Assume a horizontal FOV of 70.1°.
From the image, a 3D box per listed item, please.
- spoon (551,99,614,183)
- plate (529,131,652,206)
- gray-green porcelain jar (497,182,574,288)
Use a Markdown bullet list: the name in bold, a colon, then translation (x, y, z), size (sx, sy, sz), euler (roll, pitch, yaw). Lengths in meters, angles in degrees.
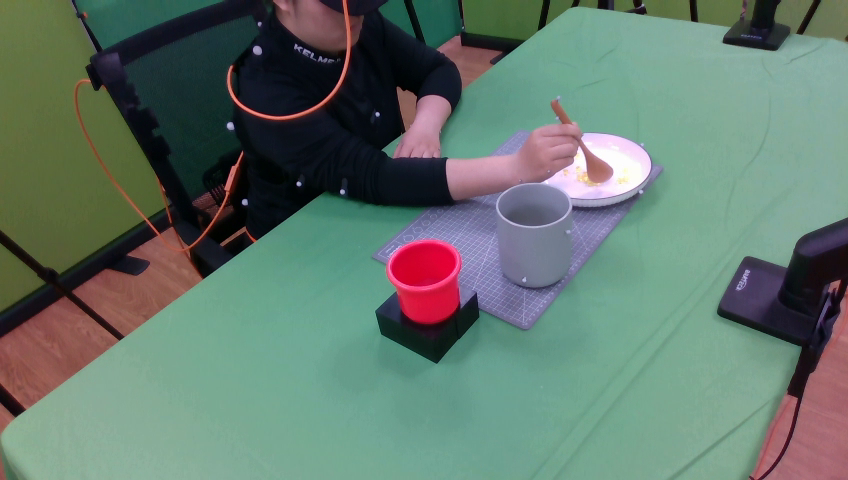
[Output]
- **spoon**: translation (0.250, -0.154, 0.962), size (0.041, 0.195, 0.021), euler (-29, 34, 24)
- **plate**: translation (0.287, -0.121, 1.056), size (0.207, 0.039, 0.206), euler (-5, 40, 5)
- **gray-green porcelain jar**: translation (0.160, -0.003, 0.869), size (0.106, 0.127, 0.105), euler (-5, 40, 5)
